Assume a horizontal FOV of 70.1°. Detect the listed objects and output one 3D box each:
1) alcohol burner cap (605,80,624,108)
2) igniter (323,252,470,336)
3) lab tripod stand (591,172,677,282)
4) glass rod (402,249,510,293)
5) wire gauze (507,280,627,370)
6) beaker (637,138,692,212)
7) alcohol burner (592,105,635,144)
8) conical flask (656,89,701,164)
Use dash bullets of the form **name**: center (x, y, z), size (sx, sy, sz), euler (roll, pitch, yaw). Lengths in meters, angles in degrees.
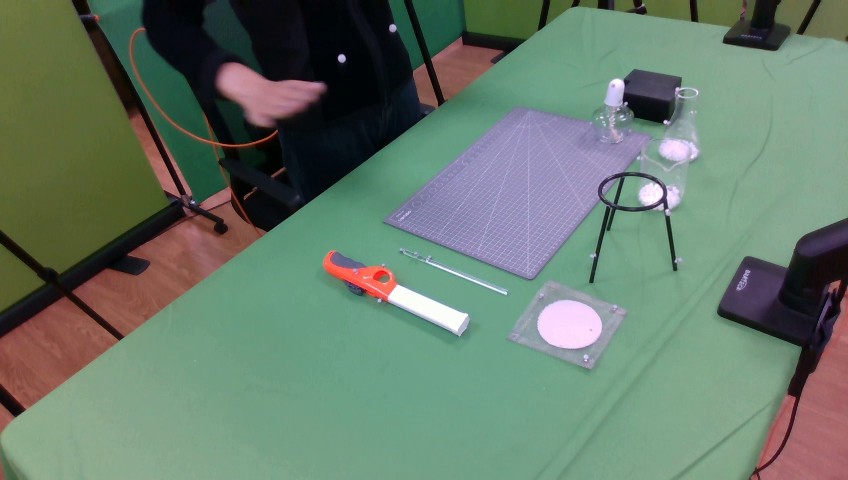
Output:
- **alcohol burner cap**: center (0.350, -0.269, 1.102), size (0.034, 0.048, 0.033), euler (-2, 45, 3)
- **igniter**: center (-0.052, 0.075, 0.901), size (0.274, 0.025, 0.057), euler (22, 60, 32)
- **lab tripod stand**: center (0.292, -0.022, 0.867), size (0.148, 0.132, 0.147), euler (-7, 39, 6)
- **glass rod**: center (0.045, 0.046, 0.931), size (0.198, 0.008, 0.008), euler (20, 49, 31)
- **wire gauze**: center (0.196, 0.114, 0.823), size (0.120, 0.011, 0.125), euler (20, 50, 31)
- **beaker**: center (0.383, -0.100, 0.970), size (0.074, 0.101, 0.084), euler (2, 42, 14)
- **alcohol burner**: center (0.353, -0.242, 1.126), size (0.078, 0.119, 0.077), euler (-5, 38, 5)
- **conical flask**: center (0.452, -0.201, 1.057), size (0.075, 0.122, 0.075), euler (-6, 40, 5)
